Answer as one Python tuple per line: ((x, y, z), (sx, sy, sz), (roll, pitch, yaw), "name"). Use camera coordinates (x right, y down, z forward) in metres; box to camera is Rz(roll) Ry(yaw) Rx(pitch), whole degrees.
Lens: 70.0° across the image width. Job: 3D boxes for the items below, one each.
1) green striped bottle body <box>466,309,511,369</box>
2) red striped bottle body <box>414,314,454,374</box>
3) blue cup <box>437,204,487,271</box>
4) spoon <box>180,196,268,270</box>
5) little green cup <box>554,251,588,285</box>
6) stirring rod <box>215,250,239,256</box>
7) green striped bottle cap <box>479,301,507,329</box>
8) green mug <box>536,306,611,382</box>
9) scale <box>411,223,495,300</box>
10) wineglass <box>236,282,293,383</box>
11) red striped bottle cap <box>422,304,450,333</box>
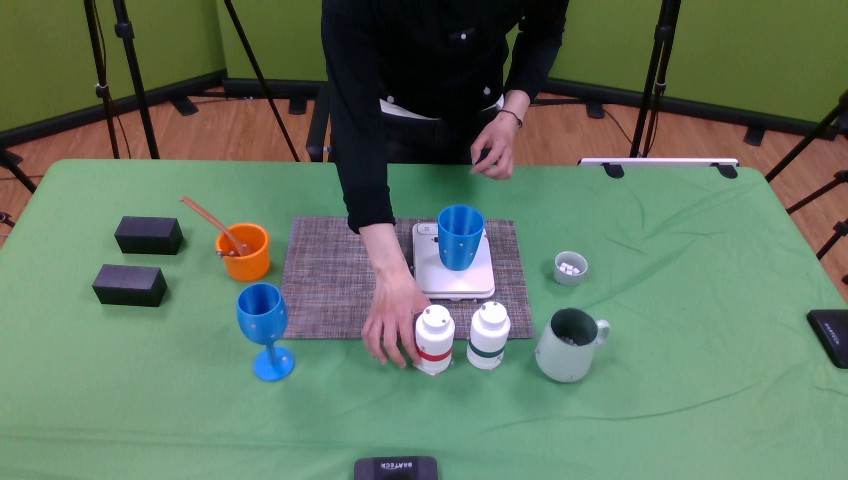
((0.105, 0.154, 0.988), (0.063, 0.120, 0.063), (2, 46, -2), "green striped bottle body")
((0.016, 0.158, 0.977), (0.063, 0.120, 0.062), (1, 46, -1), "red striped bottle body")
((0.063, 0.001, 1.097), (0.093, 0.101, 0.092), (2, 43, -2), "blue cup")
((-0.359, -0.014, 1.094), (0.021, 0.194, 0.041), (-28, 26, 31), "spoon")
((0.276, 0.055, 1.151), (0.061, 0.039, 0.061), (1, 46, -1), "little green cup")
((-0.339, 0.024, 1.059), (0.014, 0.176, 0.006), (17, 86, -6), "stirring rod")
((0.109, 0.118, 0.950), (0.044, 0.020, 0.044), (2, 46, -2), "green striped bottle cap")
((0.250, 0.167, 0.996), (0.125, 0.105, 0.092), (-16, 49, -19), "green mug")
((0.052, 0.031, 1.158), (0.149, 0.032, 0.199), (1, 46, -4), "scale")
((-0.243, 0.143, 0.934), (0.074, 0.173, 0.073), (2, 46, -2), "wineglass")
((0.018, 0.121, 0.939), (0.044, 0.018, 0.044), (0, 48, 0), "red striped bottle cap")
